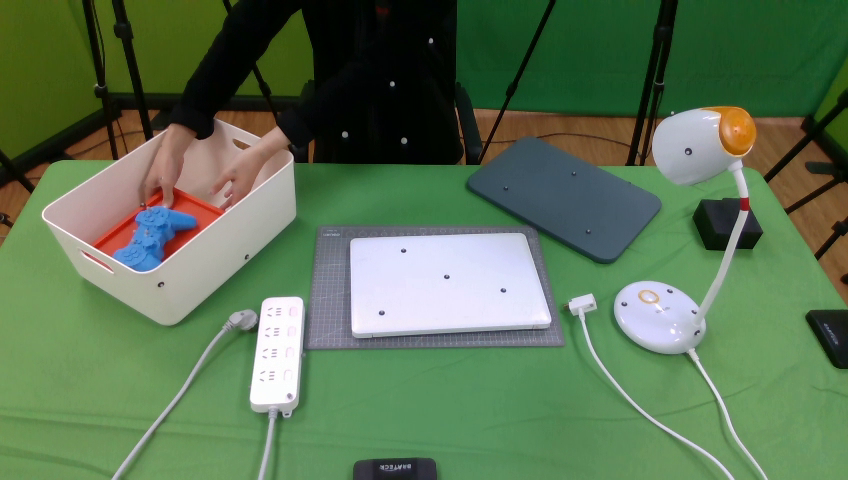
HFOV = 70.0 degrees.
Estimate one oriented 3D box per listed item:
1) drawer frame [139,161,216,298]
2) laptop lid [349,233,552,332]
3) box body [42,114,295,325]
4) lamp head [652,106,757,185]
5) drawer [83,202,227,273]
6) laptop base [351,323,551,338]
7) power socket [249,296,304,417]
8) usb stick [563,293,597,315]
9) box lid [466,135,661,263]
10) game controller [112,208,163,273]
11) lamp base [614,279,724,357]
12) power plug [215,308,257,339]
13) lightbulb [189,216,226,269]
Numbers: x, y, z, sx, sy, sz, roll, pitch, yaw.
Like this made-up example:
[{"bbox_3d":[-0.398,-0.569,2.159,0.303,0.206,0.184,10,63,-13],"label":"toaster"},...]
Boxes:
[{"bbox_3d":[-0.435,-0.026,1.063,0.083,0.214,0.201,-9,13,-30],"label":"drawer frame"},{"bbox_3d":[0.040,0.070,1.119,0.357,0.013,0.240,-1,44,-5],"label":"laptop lid"},{"bbox_3d":[-0.437,-0.046,1.110,0.253,0.161,0.363,24,49,19],"label":"box body"},{"bbox_3d":[0.410,-0.139,0.869,0.113,0.122,0.112,0,89,-19],"label":"lamp head"},{"bbox_3d":[-0.458,0.008,1.098,0.194,0.073,0.211,27,46,18],"label":"drawer"},{"bbox_3d":[0.039,0.080,1.125,0.355,0.023,0.234,-2,43,-6],"label":"laptop base"},{"bbox_3d":[-0.239,0.182,0.996,0.072,0.033,0.225,-2,47,-5],"label":"power socket"},{"bbox_3d":[0.280,0.118,1.093,0.059,0.021,0.027,-18,35,25],"label":"usb stick"},{"bbox_3d":[0.306,-0.102,1.327,0.370,0.015,0.263,32,52,25],"label":"box lid"},{"bbox_3d":[-0.464,0.001,1.040,0.097,0.052,0.154,4,46,4],"label":"game controller"},{"bbox_3d":[0.436,0.090,1.035,0.161,0.181,0.178,-23,55,-23],"label":"lamp base"},{"bbox_3d":[-0.317,0.143,1.024,0.072,0.053,0.035,-32,58,-8],"label":"power plug"},{"bbox_3d":[-0.405,0.005,1.118,0.059,0.060,0.107,9,61,4],"label":"lightbulb"}]
